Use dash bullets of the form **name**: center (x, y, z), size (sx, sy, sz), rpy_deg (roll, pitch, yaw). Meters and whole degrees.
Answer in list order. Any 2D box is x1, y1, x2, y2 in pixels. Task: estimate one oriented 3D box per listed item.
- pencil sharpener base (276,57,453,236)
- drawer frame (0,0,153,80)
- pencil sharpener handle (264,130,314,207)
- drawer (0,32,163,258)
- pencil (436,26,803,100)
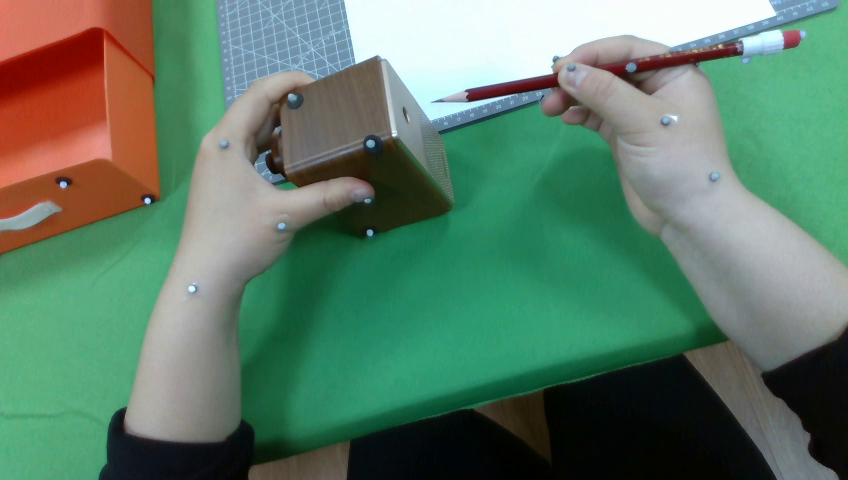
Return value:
- **pencil sharpener base**: center (-0.036, -0.053, 0.387), size (0.076, 0.108, 0.061), rpy_deg (-17, 66, 16)
- **drawer frame**: center (-0.353, -0.207, 0.539), size (0.201, 0.083, 0.211), rpy_deg (-18, 66, 7)
- **pencil sharpener handle**: center (-0.087, -0.041, 0.390), size (0.030, 0.068, 0.035), rpy_deg (-17, 62, 17)
- **drawer**: center (-0.324, -0.102, 0.495), size (0.194, 0.074, 0.210), rpy_deg (-18, 66, 7)
- **pencil**: center (0.101, -0.094, 0.332), size (0.194, 0.012, 0.012), rpy_deg (-8, 68, 10)
